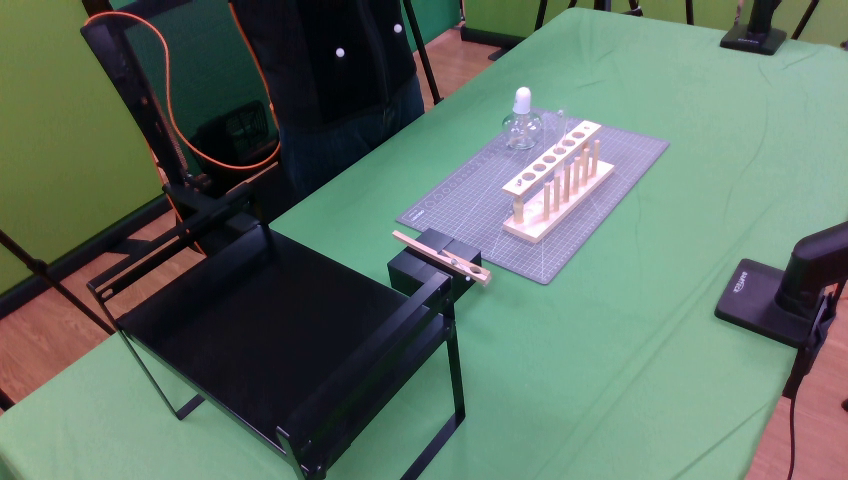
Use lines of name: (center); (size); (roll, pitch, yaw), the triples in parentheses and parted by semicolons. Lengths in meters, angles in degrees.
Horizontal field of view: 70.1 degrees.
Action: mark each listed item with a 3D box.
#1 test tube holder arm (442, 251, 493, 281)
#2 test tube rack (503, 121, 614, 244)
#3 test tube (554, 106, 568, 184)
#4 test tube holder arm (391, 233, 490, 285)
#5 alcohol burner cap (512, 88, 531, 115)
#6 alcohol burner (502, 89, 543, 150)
test tube holder arm: (0.058, 0.036, 0.851); (0.087, 0.015, 0.010); (23, 57, 32)
test tube rack: (0.230, -0.101, 1.006); (0.066, 0.085, 0.243); (26, 50, 34)
test tube: (0.223, -0.151, 0.987); (0.017, 0.151, 0.017); (-4, 43, 4)
test tube holder arm: (0.020, 0.025, 0.872); (0.177, 0.015, 0.013); (23, 56, 32)
alcohol burner cap: (0.183, -0.260, 1.123); (0.034, 0.048, 0.033); (0, 43, 0)
alcohol burner: (0.186, -0.233, 1.147); (0.078, 0.119, 0.077); (-4, 42, 5)
